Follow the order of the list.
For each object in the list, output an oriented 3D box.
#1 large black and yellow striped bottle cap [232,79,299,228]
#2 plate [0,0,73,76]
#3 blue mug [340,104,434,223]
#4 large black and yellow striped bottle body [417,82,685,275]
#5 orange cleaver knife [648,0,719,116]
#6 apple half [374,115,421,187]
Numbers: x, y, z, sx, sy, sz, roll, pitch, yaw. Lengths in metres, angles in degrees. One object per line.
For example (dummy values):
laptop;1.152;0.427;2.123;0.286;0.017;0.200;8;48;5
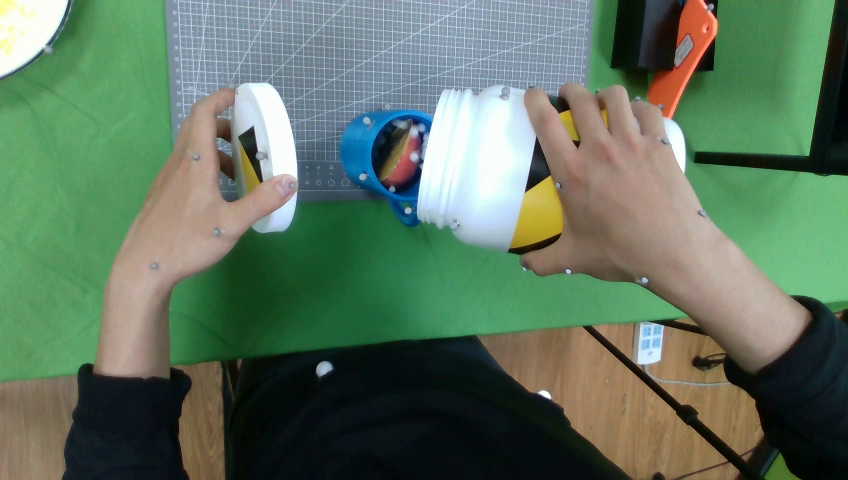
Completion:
large black and yellow striped bottle cap;-0.126;-0.066;0.472;0.019;0.114;0.115;-9;105;-30
plate;-0.379;-0.224;0.457;0.210;0.038;0.210;-5;104;-20
blue mug;-0.027;-0.073;0.593;0.082;0.105;0.117;-18;108;-17
large black and yellow striped bottle body;0.095;-0.052;0.486;0.184;0.130;0.131;12;98;4
orange cleaver knife;0.286;-0.179;0.710;0.012;0.076;0.213;0;128;-13
apple half;-0.020;-0.081;0.588;0.033;0.081;0.081;30;90;-17
